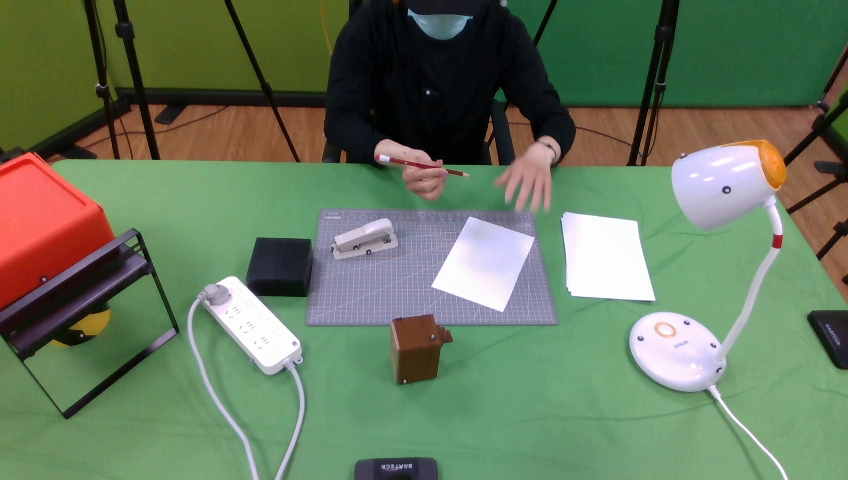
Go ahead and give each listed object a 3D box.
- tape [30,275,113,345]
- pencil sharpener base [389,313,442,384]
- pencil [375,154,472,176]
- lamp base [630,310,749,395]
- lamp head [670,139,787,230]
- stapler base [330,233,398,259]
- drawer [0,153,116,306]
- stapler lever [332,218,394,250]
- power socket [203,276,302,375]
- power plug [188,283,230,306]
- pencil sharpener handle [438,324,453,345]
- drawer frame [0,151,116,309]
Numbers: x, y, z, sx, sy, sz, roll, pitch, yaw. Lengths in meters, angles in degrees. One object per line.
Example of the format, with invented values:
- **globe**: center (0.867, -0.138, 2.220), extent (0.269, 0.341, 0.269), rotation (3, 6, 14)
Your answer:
- **tape**: center (-0.594, 0.117, 1.022), extent (0.117, 0.053, 0.116), rotation (2, 45, -2)
- **pencil sharpener base**: center (-0.013, 0.175, 0.971), extent (0.077, 0.107, 0.061), rotation (-8, 47, -11)
- **pencil**: center (-0.001, -0.144, 1.172), extent (0.194, 0.012, 0.012), rotation (12, 47, 6)
- **lamp base**: center (0.447, 0.142, 0.984), extent (0.161, 0.181, 0.178), rotation (-24, 55, -24)
- **lamp head**: center (0.415, -0.079, 0.812), extent (0.113, 0.123, 0.112), rotation (12, 70, -37)
- **stapler base**: center (-0.116, 0.004, 1.181), extent (0.131, 0.024, 0.041), rotation (-13, 47, -14)
- **drawer**: center (-0.601, -0.015, 0.880), extent (0.193, 0.073, 0.211), rotation (32, 53, 23)
- **stapler lever**: center (-0.116, -0.012, 1.162), extent (0.118, 0.040, 0.026), rotation (-13, 47, -14)
- **power socket**: center (-0.297, 0.141, 1.034), extent (0.072, 0.033, 0.225), rotation (-34, 58, -30)
- **power plug**: center (-0.368, 0.099, 1.037), extent (0.072, 0.053, 0.035), rotation (-24, 52, -25)
- **pencil sharpener handle**: center (0.036, 0.155, 0.976), extent (0.031, 0.068, 0.036), rotation (-8, 70, -11)
- **drawer frame**: center (-0.604, -0.013, 0.876), extent (0.201, 0.083, 0.213), rotation (31, 52, 23)
